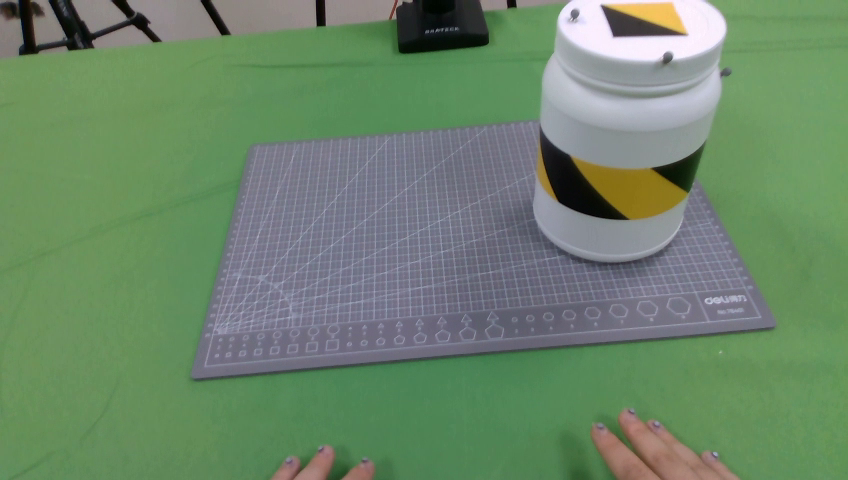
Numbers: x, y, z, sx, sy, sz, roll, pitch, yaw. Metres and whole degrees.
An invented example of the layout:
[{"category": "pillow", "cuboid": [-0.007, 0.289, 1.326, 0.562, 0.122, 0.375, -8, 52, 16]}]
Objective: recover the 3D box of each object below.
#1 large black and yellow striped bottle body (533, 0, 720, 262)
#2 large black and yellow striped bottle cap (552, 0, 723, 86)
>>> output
[{"category": "large black and yellow striped bottle body", "cuboid": [0.158, -0.087, 0.490, 0.131, 0.186, 0.129, -3, 45, 3]}, {"category": "large black and yellow striped bottle cap", "cuboid": [0.150, -0.146, 0.431, 0.115, 0.019, 0.114, -2, 45, 2]}]
